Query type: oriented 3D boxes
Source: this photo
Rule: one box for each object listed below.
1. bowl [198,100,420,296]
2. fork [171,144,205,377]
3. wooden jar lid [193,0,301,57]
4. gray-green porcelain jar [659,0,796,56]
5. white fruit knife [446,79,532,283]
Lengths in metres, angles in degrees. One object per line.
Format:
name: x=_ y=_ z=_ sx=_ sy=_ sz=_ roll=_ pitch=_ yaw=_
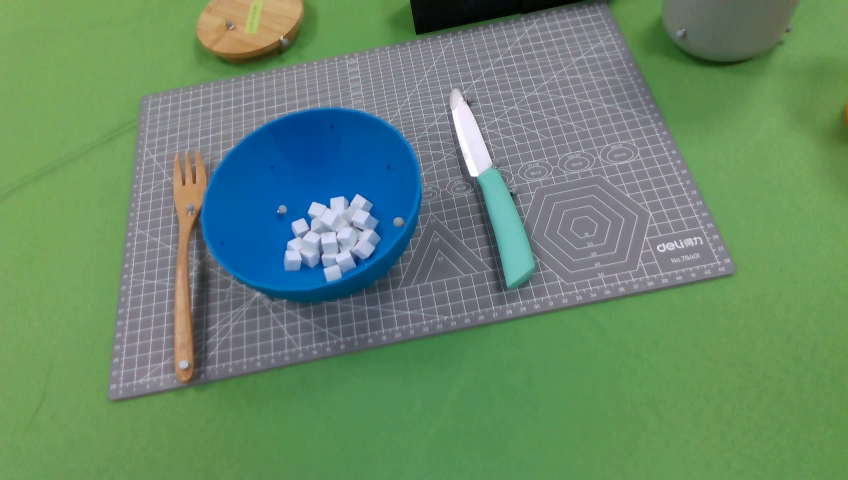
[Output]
bowl: x=-0.072 y=-0.018 z=0.436 sx=0.151 sy=0.077 sz=0.150 roll=-3 pitch=60 yaw=6
fork: x=-0.185 y=0.007 z=0.471 sx=0.028 sy=0.019 sz=0.205 roll=-9 pitch=57 yaw=-5
wooden jar lid: x=-0.175 y=-0.222 z=0.604 sx=0.108 sy=0.021 sz=0.107 roll=-2 pitch=60 yaw=5
gray-green porcelain jar: x=0.250 y=-0.223 z=0.484 sx=0.106 sy=0.127 sz=0.105 roll=-4 pitch=60 yaw=7
white fruit knife: x=0.046 y=-0.057 z=0.477 sx=0.027 sy=0.016 sz=0.205 roll=-7 pitch=58 yaw=-12
